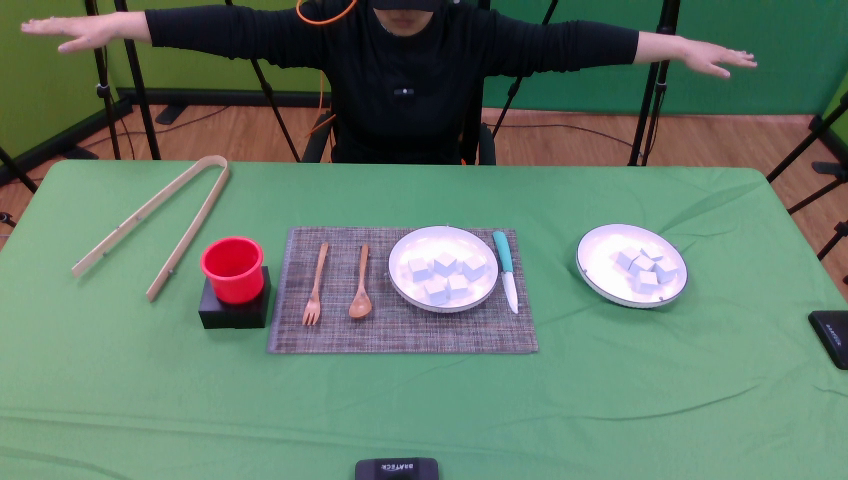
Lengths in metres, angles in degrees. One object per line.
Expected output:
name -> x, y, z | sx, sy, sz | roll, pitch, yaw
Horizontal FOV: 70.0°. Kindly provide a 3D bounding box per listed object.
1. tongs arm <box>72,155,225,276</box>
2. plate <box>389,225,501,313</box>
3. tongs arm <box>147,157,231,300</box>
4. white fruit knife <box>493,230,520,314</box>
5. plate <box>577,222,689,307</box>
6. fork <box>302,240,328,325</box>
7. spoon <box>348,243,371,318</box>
tongs arm -> -0.531, -0.058, 1.205 | 0.050, 0.026, 0.383 | 18, 47, 13
plate -> 0.038, 0.057, 1.128 | 0.208, 0.039, 0.206 | 2, 46, -2
tongs arm -> -0.454, -0.036, 1.193 | 0.028, 0.028, 0.385 | 6, 46, 6
white fruit knife -> 0.160, 0.057, 1.154 | 0.027, 0.016, 0.206 | -21, 46, 16
plate -> 0.396, 0.050, 1.165 | 0.209, 0.038, 0.208 | 2, 47, -2
fork -> -0.195, 0.074, 1.108 | 0.028, 0.019, 0.206 | -1, 48, 4
spoon -> -0.113, 0.070, 1.115 | 0.041, 0.022, 0.192 | -11, 46, 11
